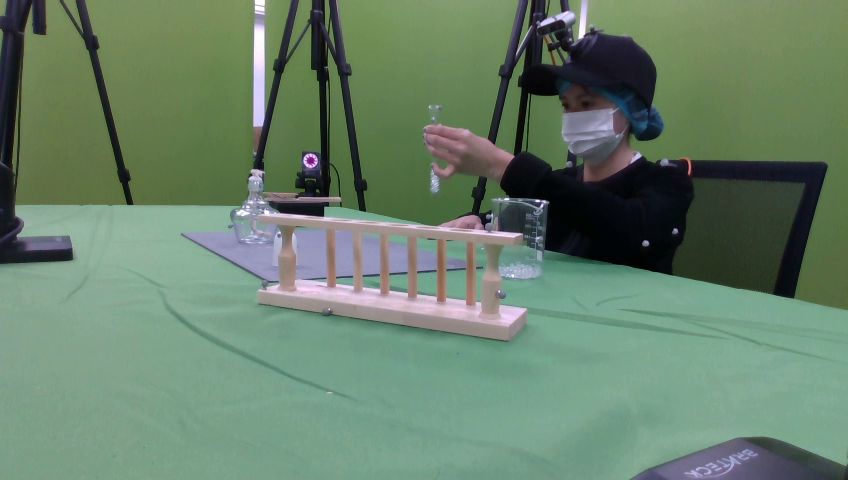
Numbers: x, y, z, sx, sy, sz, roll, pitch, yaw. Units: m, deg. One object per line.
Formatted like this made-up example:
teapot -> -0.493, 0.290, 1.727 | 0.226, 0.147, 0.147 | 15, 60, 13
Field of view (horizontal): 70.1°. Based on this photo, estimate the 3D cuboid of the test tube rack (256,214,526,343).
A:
test tube rack -> -0.032, 0.027, 0.547 | 0.241, 0.085, 0.067 | 5, 7, 22

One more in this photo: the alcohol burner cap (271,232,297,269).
alcohol burner cap -> -0.175, 0.012, 0.760 | 0.034, 0.048, 0.034 | 2, 8, 0

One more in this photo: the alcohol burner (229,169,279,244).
alcohol burner -> -0.268, -0.053, 0.958 | 0.078, 0.119, 0.078 | 2, 6, 0

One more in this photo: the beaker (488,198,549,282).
beaker -> 0.120, -0.001, 0.768 | 0.074, 0.100, 0.083 | -1, 9, -25

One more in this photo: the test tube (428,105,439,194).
test tube -> 0.015, -0.146, 0.994 | 0.017, 0.150, 0.017 | 1, 25, 0

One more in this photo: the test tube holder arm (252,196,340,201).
test tube holder arm -> -0.260, -0.086, 1.242 | 0.179, 0.013, 0.015 | 0, 8, -25

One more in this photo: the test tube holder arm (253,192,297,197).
test tube holder arm -> -0.301, -0.091, 1.223 | 0.088, 0.010, 0.015 | 0, 7, -25
